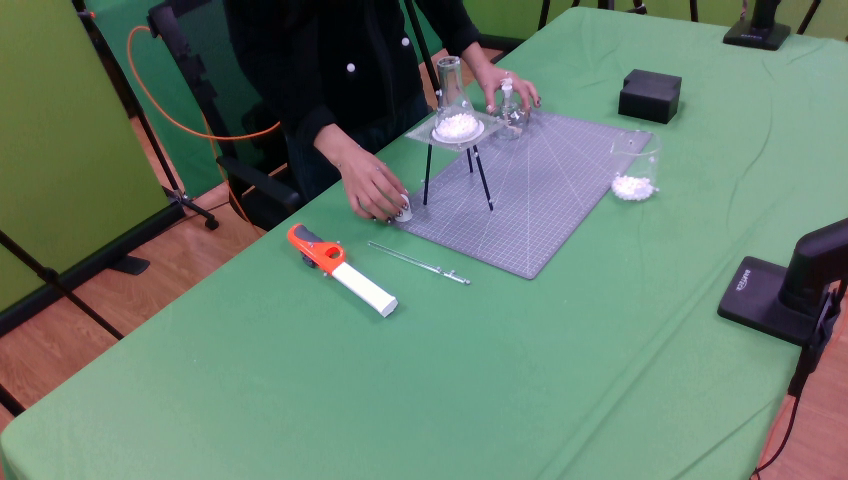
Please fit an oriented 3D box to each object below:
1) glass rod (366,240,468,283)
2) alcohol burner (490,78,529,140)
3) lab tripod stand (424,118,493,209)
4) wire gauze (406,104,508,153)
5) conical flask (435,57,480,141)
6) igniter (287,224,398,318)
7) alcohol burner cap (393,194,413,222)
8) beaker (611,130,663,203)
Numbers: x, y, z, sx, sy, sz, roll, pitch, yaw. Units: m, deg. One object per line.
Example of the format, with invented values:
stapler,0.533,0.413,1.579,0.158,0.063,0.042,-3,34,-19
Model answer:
glass rod,-0.015,0.032,0.959,0.198,0.008,0.008,21,49,30
alcohol burner,0.166,-0.259,1.184,0.078,0.119,0.077,-6,38,5
lab tripod stand,0.061,-0.133,1.039,0.148,0.132,0.147,-6,39,6
wire gauze,0.054,-0.183,0.997,0.120,0.011,0.125,25,53,38
conical flask,0.046,-0.225,0.955,0.075,0.122,0.075,-7,39,6
igniter,-0.139,0.042,0.958,0.057,0.025,0.274,-42,49,-19
alcohol burner cap,-0.039,-0.056,1.039,0.034,0.048,0.033,-6,40,5
beaker,0.346,-0.118,0.998,0.084,0.101,0.073,-17,40,-7
